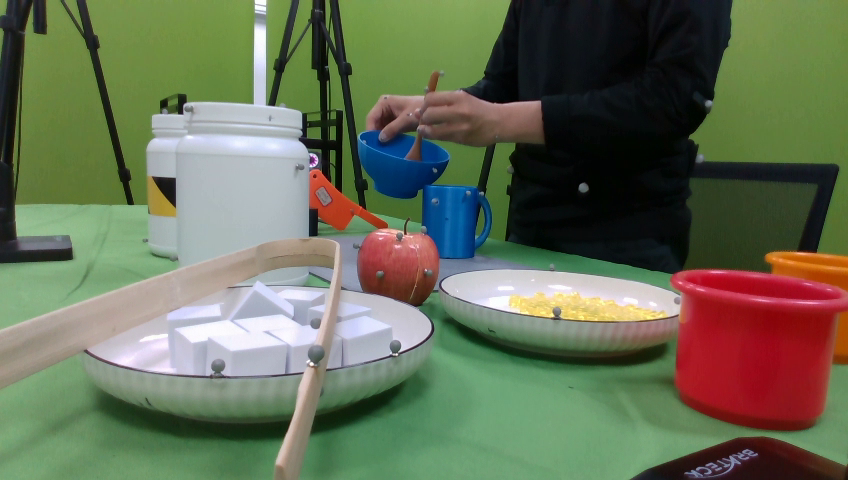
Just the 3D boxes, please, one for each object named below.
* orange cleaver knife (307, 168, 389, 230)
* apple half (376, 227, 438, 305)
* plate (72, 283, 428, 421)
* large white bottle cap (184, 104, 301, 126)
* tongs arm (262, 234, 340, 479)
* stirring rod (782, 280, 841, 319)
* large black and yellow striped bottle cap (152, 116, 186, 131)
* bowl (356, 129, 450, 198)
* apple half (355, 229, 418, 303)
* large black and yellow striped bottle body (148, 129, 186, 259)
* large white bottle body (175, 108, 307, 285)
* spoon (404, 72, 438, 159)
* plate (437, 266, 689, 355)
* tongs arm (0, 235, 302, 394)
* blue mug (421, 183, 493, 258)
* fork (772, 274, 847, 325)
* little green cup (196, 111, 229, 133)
[{"bbox_3d":[-0.158,-0.060,1.166,0.212,0.077,0.012,34,-12,-32],"label":"orange cleaver knife"},{"bbox_3d":[-0.017,0.026,0.593,0.080,0.074,0.053,4,2,43],"label":"apple half"},{"bbox_3d":[-0.102,0.066,0.381,0.208,0.039,0.207,2,7,0],"label":"plate"},{"bbox_3d":[-0.184,-0.126,0.618,0.115,0.018,0.115,2,8,0],"label":"large white bottle cap"},{"bbox_3d":[-0.074,0.039,0.349,0.051,0.026,0.384,-2,10,-3],"label":"tongs arm"},{"bbox_3d":[0.344,0.019,0.461,0.014,0.006,0.176,-13,-27,-30],"label":"stirring rod"},{"bbox_3d":[-0.309,-0.155,0.826,0.115,0.019,0.115,3,6,0],"label":"large black and yellow striped bottle cap"},{"bbox_3d":[-0.039,-0.118,0.967,0.151,0.077,0.151,11,23,-5],"label":"bowl"},{"bbox_3d":[-0.043,0.027,0.564,0.081,0.081,0.033,9,5,42],"label":"apple half"},{"bbox_3d":[-0.310,-0.073,0.838,0.131,0.184,0.130,2,8,0],"label":"large black and yellow striped bottle body"},{"bbox_3d":[-0.188,-0.042,0.630,0.131,0.184,0.130,2,8,0],"label":"large white bottle body"},{"bbox_3d":[-0.008,-0.166,0.913,0.042,0.193,0.021,12,38,-5],"label":"spoon"},{"bbox_3d":[0.114,0.057,0.517,0.209,0.038,0.209,3,7,0],"label":"plate"},{"bbox_3d":[-0.157,0.038,0.351,0.028,0.028,0.388,-3,9,12],"label":"tongs arm"},{"bbox_3d":[0.052,-0.032,0.912,0.117,0.106,0.082,-1,8,-24],"label":"blue mug"},{"bbox_3d":[0.332,0.018,0.443,0.028,0.018,0.207,-1,-36,-15],"label":"fork"},{"bbox_3d":[-0.403,-0.225,1.154,0.061,0.038,0.061,3,8,0],"label":"little green cup"}]
